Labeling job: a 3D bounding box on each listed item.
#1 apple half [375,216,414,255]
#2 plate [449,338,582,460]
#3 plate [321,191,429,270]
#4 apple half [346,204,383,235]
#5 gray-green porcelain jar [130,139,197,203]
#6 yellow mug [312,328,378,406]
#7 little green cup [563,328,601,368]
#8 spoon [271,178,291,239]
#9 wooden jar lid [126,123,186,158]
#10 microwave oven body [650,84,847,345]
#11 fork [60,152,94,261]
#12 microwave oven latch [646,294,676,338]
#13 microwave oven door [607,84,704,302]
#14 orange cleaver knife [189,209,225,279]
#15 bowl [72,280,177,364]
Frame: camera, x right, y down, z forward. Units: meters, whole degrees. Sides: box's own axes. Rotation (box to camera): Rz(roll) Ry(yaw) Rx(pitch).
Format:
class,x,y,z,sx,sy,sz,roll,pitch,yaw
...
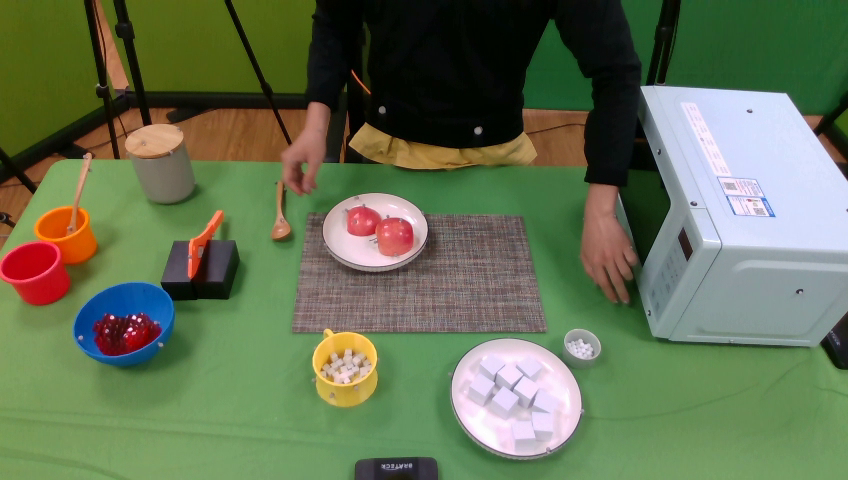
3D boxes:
class,x,y,z,sx,sy,sz,roll,pitch,yaw
apple half,-0.056,-0.017,1.169,0.075,0.053,0.080,0,46,-7
plate,0.141,0.251,0.956,0.208,0.039,0.206,2,46,-2
plate,-0.094,-0.015,1.185,0.209,0.038,0.208,2,46,-2
apple half,-0.119,-0.049,1.207,0.081,0.033,0.081,2,49,-2
gray-green porcelain jar,-0.522,-0.148,1.225,0.106,0.127,0.105,2,47,-2
yellow mug,-0.132,0.193,0.971,0.100,0.064,0.130,-22,51,-22
little green cup,0.265,0.184,1.025,0.061,0.039,0.061,1,46,-1
spoon,-0.293,-0.069,1.237,0.041,0.022,0.192,-18,48,6
wooden jar lid,-0.519,-0.190,1.179,0.108,0.021,0.107,2,44,-2
microwave oven body,0.569,-0.054,1.116,0.326,0.261,0.439,2,46,-1
fork,-0.638,-0.063,1.119,0.028,0.018,0.207,12,90,7
microwave oven latch,0.412,0.133,1.060,0.030,0.029,0.078,3,46,0
microwave oven door,0.424,-0.096,1.138,0.039,0.245,0.353,2,46,-1
orange cleaver knife,-0.401,0.002,1.122,0.012,0.077,0.210,4,23,-4
bowl,-0.473,0.147,0.982,0.151,0.077,0.150,2,46,-2
